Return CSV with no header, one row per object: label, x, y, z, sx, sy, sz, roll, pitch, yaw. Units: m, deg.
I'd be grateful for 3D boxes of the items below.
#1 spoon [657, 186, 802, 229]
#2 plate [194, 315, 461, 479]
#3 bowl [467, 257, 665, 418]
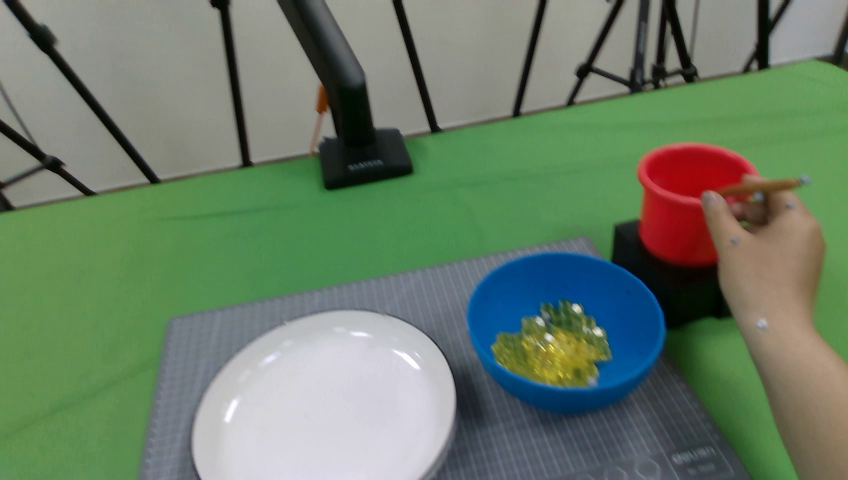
spoon,0.241,-0.027,0.495,0.041,0.021,0.194,-7,-7,-1
plate,-0.073,0.144,0.485,0.207,0.039,0.205,-4,37,4
bowl,0.112,0.091,0.493,0.151,0.077,0.150,-4,37,4
